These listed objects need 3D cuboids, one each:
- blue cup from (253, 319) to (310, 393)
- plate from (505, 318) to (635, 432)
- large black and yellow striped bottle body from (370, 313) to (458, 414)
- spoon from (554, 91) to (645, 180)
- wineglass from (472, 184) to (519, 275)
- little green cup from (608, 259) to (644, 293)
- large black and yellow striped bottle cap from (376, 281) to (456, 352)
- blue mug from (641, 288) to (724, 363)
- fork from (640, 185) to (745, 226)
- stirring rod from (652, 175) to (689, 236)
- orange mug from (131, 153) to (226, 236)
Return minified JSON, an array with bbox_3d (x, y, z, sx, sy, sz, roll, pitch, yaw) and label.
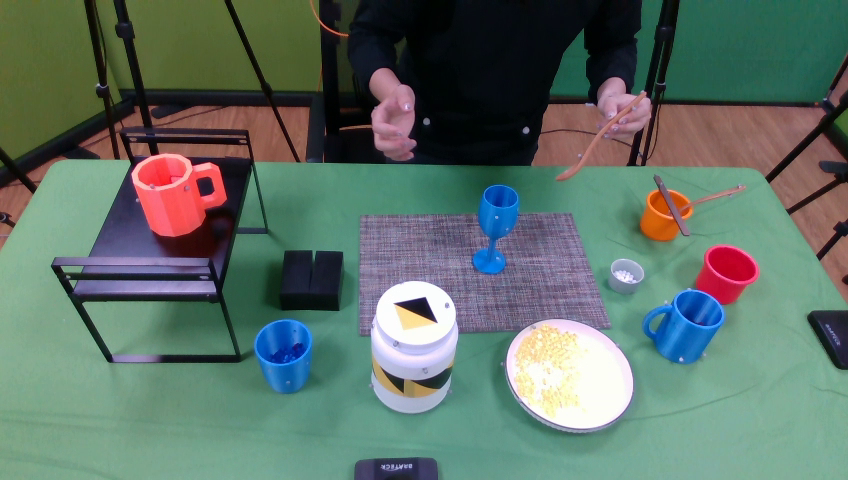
[{"bbox_3d":[-0.217,0.187,0.943,0.093,0.101,0.092,4,45,-3],"label":"blue cup"},{"bbox_3d":[0.235,0.221,0.991,0.209,0.038,0.208,2,45,-2],"label":"plate"},{"bbox_3d":[-0.017,0.165,0.924,0.131,0.185,0.130,2,46,-2],"label":"large black and yellow striped bottle body"},{"bbox_3d":[0.283,-0.167,0.986,0.021,0.194,0.041,39,22,0],"label":"spoon"},{"bbox_3d":[0.129,-0.018,1.113,0.074,0.173,0.073,2,46,-2],"label":"wineglass"},{"bbox_3d":[0.379,0.070,1.147,0.061,0.039,0.061,3,45,-3],"label":"little green cup"},{"bbox_3d":[-0.011,0.107,0.863,0.115,0.019,0.114,2,47,-2],"label":"large black and yellow striped bottle cap"},{"bbox_3d":[0.432,0.144,1.033,0.116,0.106,0.082,8,46,5],"label":"blue mug"},{"bbox_3d":[0.534,-0.069,1.215,0.207,0.019,0.028,-26,26,33],"label":"fork"},{"bbox_3d":[0.491,-0.072,1.211,0.014,0.006,0.175,-1,46,-6],"label":"stirring rod"},{"bbox_3d":[-0.375,-0.075,0.937,0.126,0.101,0.083,-20,50,-17],"label":"orange mug"}]
